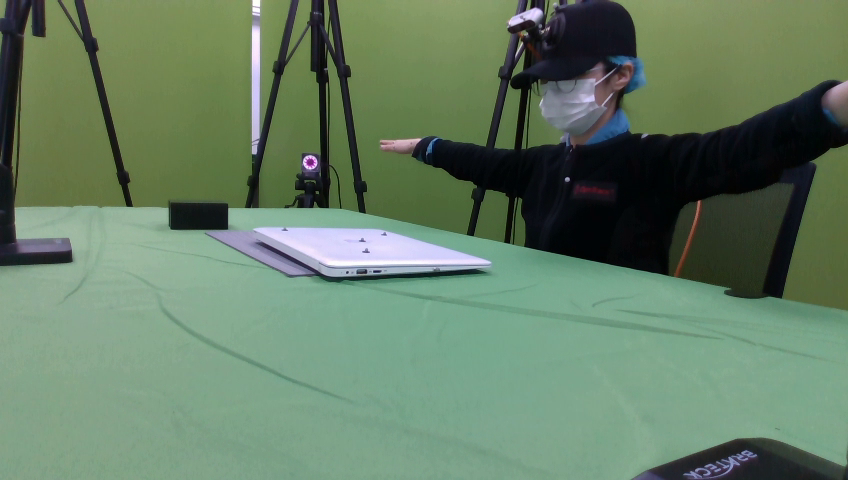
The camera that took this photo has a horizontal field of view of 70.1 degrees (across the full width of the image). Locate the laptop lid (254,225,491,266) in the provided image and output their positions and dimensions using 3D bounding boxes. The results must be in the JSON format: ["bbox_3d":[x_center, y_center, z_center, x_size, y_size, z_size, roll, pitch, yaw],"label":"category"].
[{"bbox_3d":[-0.093,0.003,0.888,0.243,0.013,0.355,1,8,-28],"label":"laptop lid"}]

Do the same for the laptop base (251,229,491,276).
[{"bbox_3d":[-0.095,0.015,0.888,0.237,0.023,0.352,2,7,-30],"label":"laptop base"}]
